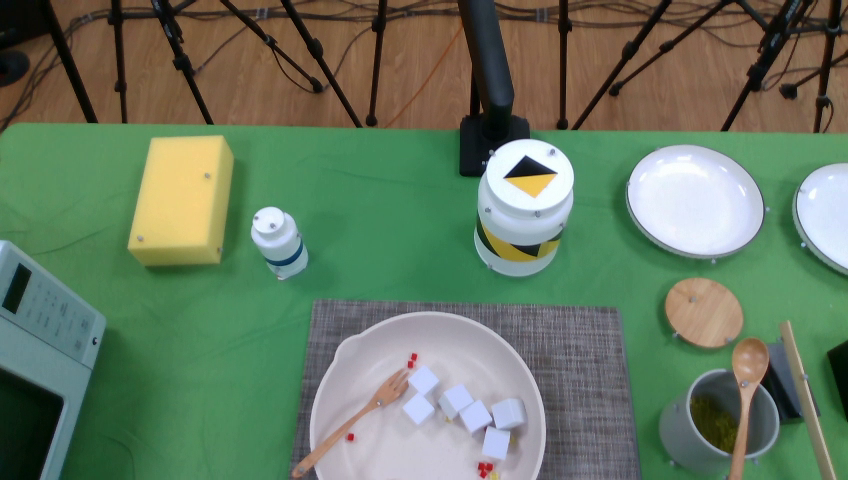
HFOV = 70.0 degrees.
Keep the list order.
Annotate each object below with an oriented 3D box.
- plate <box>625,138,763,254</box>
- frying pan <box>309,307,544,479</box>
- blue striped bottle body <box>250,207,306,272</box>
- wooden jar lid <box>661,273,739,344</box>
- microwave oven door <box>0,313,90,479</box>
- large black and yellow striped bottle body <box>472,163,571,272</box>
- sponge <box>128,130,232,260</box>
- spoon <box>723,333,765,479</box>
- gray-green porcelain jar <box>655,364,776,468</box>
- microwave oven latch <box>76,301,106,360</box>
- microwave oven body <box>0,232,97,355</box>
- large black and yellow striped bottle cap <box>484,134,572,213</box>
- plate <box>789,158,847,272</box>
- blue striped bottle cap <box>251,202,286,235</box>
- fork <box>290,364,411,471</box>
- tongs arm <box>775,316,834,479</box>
[{"bbox_3d":[0.419,-0.067,0.955,0.208,0.039,0.206,0,62,1],"label":"plate"},{"bbox_3d":[-0.068,0.292,0.732,0.304,0.103,0.487,39,61,20],"label":"frying pan"},{"bbox_3d":[-0.214,-0.006,0.886,0.063,0.122,0.062,-1,62,1],"label":"blue striped bottle body"},{"bbox_3d":[0.397,0.100,0.877,0.108,0.021,0.107,-1,63,1],"label":"wooden jar lid"},{"bbox_3d":[-0.489,0.270,0.655,0.039,0.246,0.353,2,62,2],"label":"microwave oven door"},{"bbox_3d":[0.137,-0.048,0.867,0.131,0.185,0.129,0,61,1],"label":"large black and yellow striped bottle body"},{"bbox_3d":[-0.381,-0.073,0.958,0.118,0.061,0.205,-3,63,-1],"label":"sponge"},{"bbox_3d":[0.356,0.197,0.686,0.041,0.022,0.192,18,67,6],"label":"spoon"},{"bbox_3d":[0.353,0.223,0.752,0.106,0.127,0.105,0,62,1],"label":"gray-green porcelain jar"},{"bbox_3d":[-0.472,0.126,0.847,0.030,0.030,0.078,4,63,3],"label":"microwave oven latch"},{"bbox_3d":[-0.631,0.231,0.685,0.326,0.262,0.438,2,63,2],"label":"microwave oven body"},{"bbox_3d":[0.136,-0.089,0.793,0.115,0.019,0.114,0,63,1],"label":"large black and yellow striped bottle cap"},{"bbox_3d":[0.666,-0.033,0.931,0.209,0.038,0.207,0,62,1],"label":"plate"},{"bbox_3d":[-0.216,-0.031,0.841,0.044,0.021,0.044,0,64,1],"label":"blue striped bottle cap"},{"bbox_3d":[-0.090,0.225,0.778,0.028,0.019,0.207,43,46,14],"label":"fork"},{"bbox_3d":[0.501,0.280,0.730,0.051,0.026,0.382,-5,74,-5],"label":"tongs arm"}]
